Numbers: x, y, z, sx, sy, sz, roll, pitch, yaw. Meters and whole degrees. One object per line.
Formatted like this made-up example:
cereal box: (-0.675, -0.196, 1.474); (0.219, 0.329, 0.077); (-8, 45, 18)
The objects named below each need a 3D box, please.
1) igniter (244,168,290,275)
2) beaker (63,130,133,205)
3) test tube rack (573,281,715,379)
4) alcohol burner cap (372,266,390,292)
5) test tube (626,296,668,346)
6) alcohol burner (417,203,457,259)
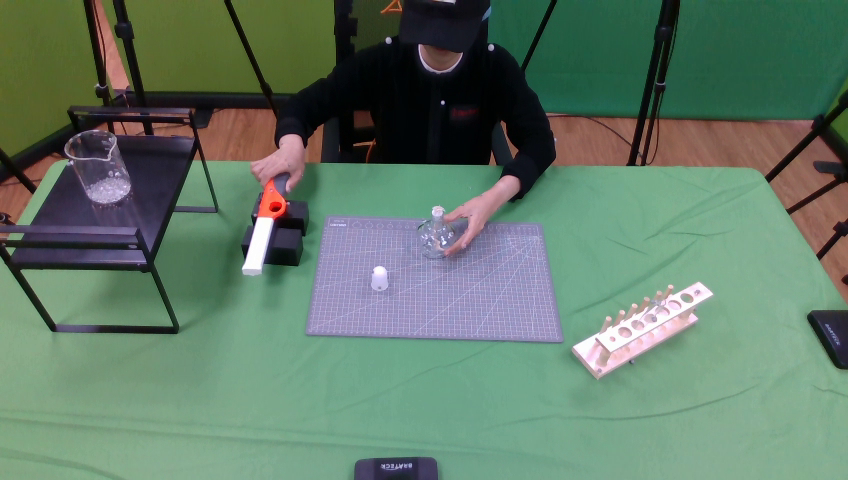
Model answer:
igniter: (-0.295, -0.044, 1.147); (0.057, 0.025, 0.275); (3, 46, -2)
beaker: (-0.511, -0.112, 0.964); (0.083, 0.101, 0.074); (31, 52, 23)
test tube rack: (0.378, 0.140, 1.038); (0.242, 0.085, 0.066); (-22, 51, -23)
alcohol burner cap: (-0.080, 0.069, 1.104); (0.034, 0.048, 0.033); (1, 46, 0)
test tube: (0.352, 0.133, 0.970); (0.017, 0.151, 0.017); (3, 54, -4)
alcohol burner: (0.025, -0.022, 1.150); (0.078, 0.120, 0.077); (1, 45, 0)
